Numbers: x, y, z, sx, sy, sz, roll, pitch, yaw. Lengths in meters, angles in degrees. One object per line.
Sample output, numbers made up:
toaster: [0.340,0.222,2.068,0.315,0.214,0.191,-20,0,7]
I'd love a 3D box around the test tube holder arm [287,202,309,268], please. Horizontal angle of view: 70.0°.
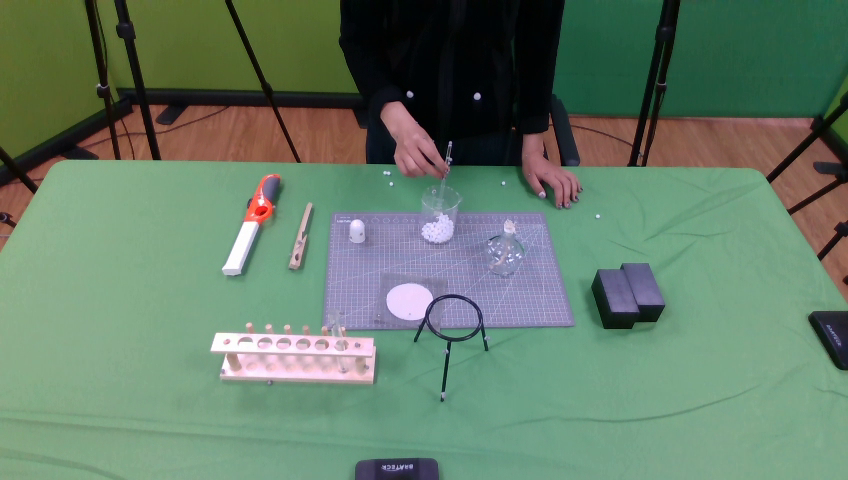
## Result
test tube holder arm: [-0.246,-0.013,1.193,0.013,0.015,0.177,29,39,-26]

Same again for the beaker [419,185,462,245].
beaker: [0.029,-0.047,1.191,0.084,0.101,0.073,-5,47,-10]

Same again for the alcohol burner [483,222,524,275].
alcohol burner: [0.153,0.010,1.136,0.078,0.119,0.077,4,46,-4]

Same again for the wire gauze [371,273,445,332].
wire gauze: [-0.028,0.109,1.100,0.125,0.011,0.121,8,45,4]

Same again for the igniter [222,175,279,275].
igniter: [-0.341,-0.039,1.206,0.057,0.025,0.275,-1,45,9]

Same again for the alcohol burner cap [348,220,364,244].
alcohol burner cap: [-0.134,-0.019,1.190,0.034,0.048,0.033,2,46,-2]

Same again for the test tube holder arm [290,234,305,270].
test tube holder arm: [-0.243,0.021,1.164,0.010,0.015,0.087,29,39,-26]

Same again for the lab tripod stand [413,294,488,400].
lab tripod stand: [0.045,0.159,0.972,0.148,0.132,0.147,2,44,-2]

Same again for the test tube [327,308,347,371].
test tube: [-0.132,0.155,0.926,0.017,0.151,0.017,0,45,0]

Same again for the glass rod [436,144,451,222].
glass rod: [0.038,-0.105,1.171,0.008,0.200,0.008,4,46,-4]

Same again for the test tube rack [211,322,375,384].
test tube rack: [-0.202,0.176,0.969,0.242,0.085,0.066,3,46,-2]
